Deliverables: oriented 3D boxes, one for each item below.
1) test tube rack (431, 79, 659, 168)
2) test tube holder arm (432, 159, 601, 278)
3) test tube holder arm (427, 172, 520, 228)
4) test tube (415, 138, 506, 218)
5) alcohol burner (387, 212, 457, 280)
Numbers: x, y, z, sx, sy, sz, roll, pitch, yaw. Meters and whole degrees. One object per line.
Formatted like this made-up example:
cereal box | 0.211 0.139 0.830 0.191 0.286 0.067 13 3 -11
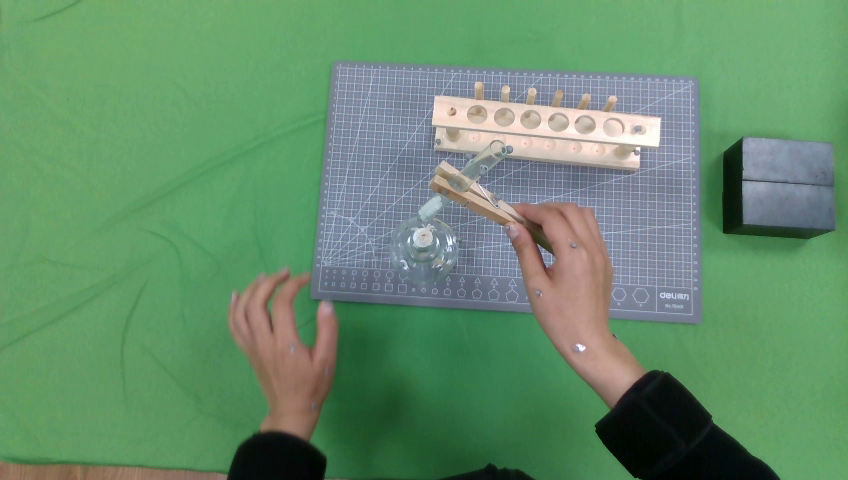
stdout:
test tube rack | 0.133 -0.138 0.692 0.242 0.085 0.066 6 81 3
test tube holder arm | 0.084 -0.017 0.531 0.179 0.015 0.013 32 67 -13
test tube holder arm | 0.043 -0.033 0.518 0.088 0.015 0.010 25 68 -15
test tube | 0.026 -0.048 0.513 0.017 0.150 0.017 8 70 -22
alcohol burner | -0.003 0.003 0.657 0.078 0.119 0.077 0 79 0
